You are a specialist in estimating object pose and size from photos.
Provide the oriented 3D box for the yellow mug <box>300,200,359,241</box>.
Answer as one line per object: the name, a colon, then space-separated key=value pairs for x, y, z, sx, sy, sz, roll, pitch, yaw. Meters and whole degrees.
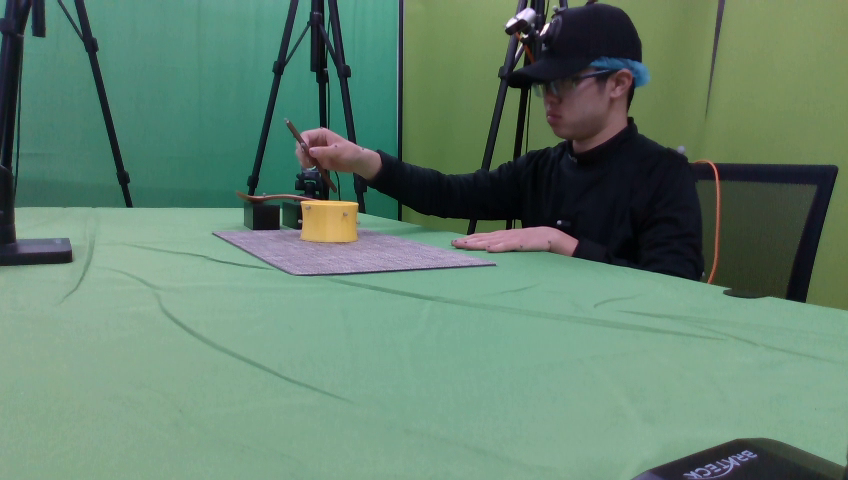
yellow mug: x=-0.156 y=-0.036 z=1.060 sx=0.099 sy=0.064 sz=0.131 roll=6 pitch=7 yaw=27

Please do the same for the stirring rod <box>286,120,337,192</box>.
stirring rod: x=-0.203 y=-0.150 z=1.103 sx=0.006 sy=0.177 sz=0.014 roll=-16 pitch=45 yaw=15

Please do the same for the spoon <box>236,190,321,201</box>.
spoon: x=-0.290 y=-0.088 z=1.248 sx=0.195 sy=0.021 sz=0.041 roll=0 pitch=6 yaw=-32
